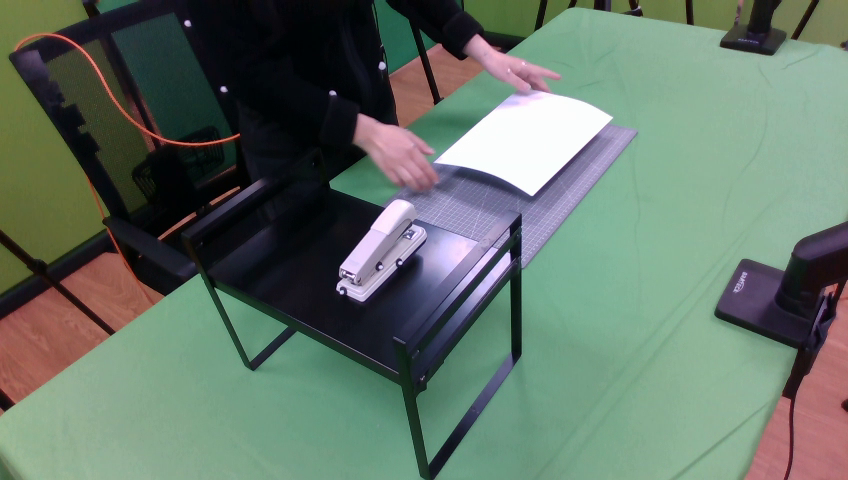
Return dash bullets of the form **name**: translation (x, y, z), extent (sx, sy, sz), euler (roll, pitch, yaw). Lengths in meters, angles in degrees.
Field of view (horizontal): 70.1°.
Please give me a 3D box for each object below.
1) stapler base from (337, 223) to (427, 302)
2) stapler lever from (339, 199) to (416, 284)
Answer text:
- **stapler base**: translation (-0.046, 0.016, 0.685), extent (0.041, 0.024, 0.131), euler (18, 48, 31)
- **stapler lever**: translation (-0.050, -0.001, 0.668), extent (0.026, 0.040, 0.118), euler (18, 47, 31)
